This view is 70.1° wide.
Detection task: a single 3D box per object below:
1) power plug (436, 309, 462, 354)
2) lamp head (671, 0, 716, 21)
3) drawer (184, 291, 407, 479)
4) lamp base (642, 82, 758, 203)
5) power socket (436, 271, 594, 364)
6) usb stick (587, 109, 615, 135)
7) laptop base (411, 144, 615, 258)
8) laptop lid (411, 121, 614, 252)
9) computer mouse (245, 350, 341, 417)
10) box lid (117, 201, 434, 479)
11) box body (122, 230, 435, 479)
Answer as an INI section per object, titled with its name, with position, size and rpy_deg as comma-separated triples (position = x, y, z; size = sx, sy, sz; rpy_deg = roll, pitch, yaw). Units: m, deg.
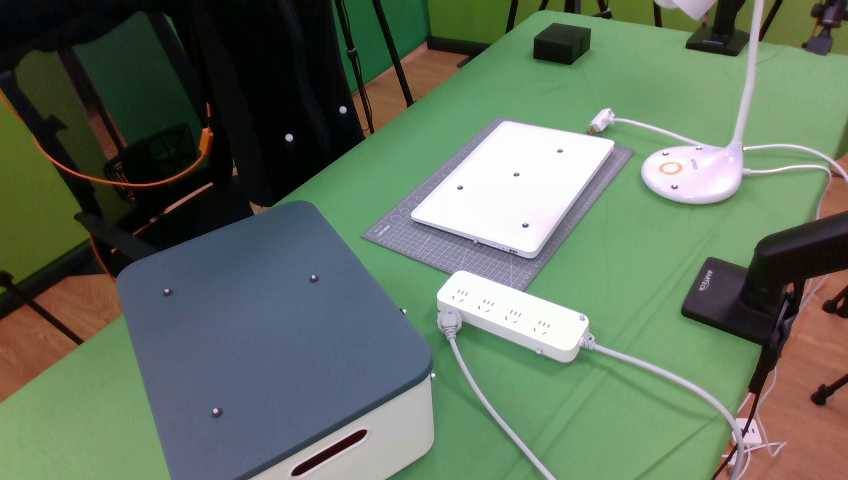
[power plug]
position = 0.030, 0.125, 0.810
size = 0.035, 0.053, 0.072
rpy_deg = 7, 58, 11
[lamp head]
position = 0.375, -0.373, 0.807
size = 0.122, 0.113, 0.112
rpy_deg = -40, 27, 32
[drawer]
position = -0.155, 0.180, 0.720
size = 0.195, 0.073, 0.210
rpy_deg = -27, 41, -21
[lamp base]
position = 0.464, -0.174, 0.992
size = 0.179, 0.181, 0.159
rpy_deg = -5, 41, -1
[power socket]
position = 0.118, 0.102, 0.830
size = 0.225, 0.033, 0.072
rpy_deg = 20, 49, 28
[usb stick]
position = 0.344, -0.229, 1.184
size = 0.059, 0.021, 0.027
rpy_deg = -47, 21, -8
[laptop base]
position = 0.167, -0.102, 1.074
size = 0.234, 0.023, 0.355
rpy_deg = 17, 45, 30
[laptop lid]
position = 0.164, -0.112, 1.068
size = 0.240, 0.013, 0.357
rpy_deg = 19, 46, 30
[computer mouse]
position = -0.164, 0.173, 0.754
size = 0.118, 0.041, 0.062
rpy_deg = -18, 33, -18
[box lid]
position = -0.182, 0.087, 0.675
size = 0.264, 0.015, 0.368
rpy_deg = -25, 42, -20
[box body]
position = -0.175, 0.142, 0.724
size = 0.255, 0.161, 0.360
rpy_deg = -25, 43, -20
